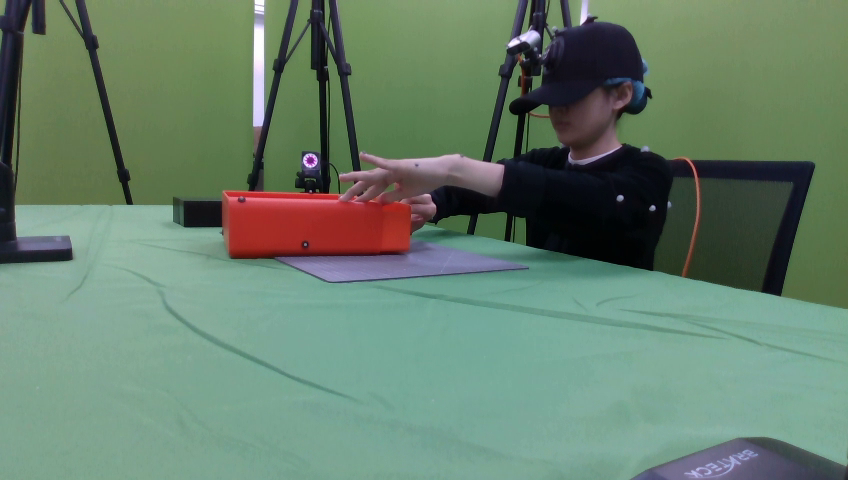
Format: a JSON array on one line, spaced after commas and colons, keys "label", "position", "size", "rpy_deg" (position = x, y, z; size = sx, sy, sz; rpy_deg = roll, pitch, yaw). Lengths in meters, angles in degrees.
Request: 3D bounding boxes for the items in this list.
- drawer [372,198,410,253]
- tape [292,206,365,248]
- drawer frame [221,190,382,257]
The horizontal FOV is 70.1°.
[{"label": "drawer", "position": [-0.150, -0.027, 0.935], "size": [0.213, 0.073, 0.193], "rpy_deg": [0, 8, -22]}, {"label": "tape", "position": [-0.149, -0.021, 0.944], "size": [0.117, 0.052, 0.117], "rpy_deg": [4, 7, 0]}, {"label": "drawer frame", "position": [-0.192, -0.029, 0.917], "size": [0.214, 0.082, 0.201], "rpy_deg": [-1, 9, -22]}]
